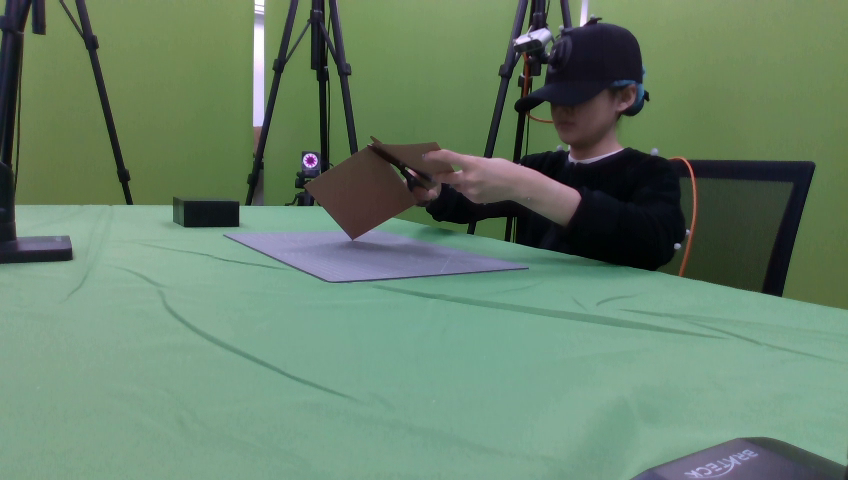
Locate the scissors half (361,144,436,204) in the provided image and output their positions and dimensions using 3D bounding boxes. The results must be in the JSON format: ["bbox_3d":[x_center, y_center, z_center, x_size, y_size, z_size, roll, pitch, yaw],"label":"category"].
[{"bbox_3d":[-0.040,-0.105,0.976,0.013,0.040,0.176,20,-13,48],"label":"scissors half"}]

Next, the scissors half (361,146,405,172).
[{"bbox_3d":[-0.031,-0.124,0.975,0.176,0.040,0.012,12,10,-41],"label":"scissors half"}]

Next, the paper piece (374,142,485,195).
[{"bbox_3d":[0.007,-0.109,0.923,0.135,0.004,0.136,14,-16,46],"label":"paper piece"}]

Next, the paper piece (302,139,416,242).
[{"bbox_3d":[-0.103,-0.075,0.980,0.138,0.136,0.008,-31,31,10],"label":"paper piece"}]
